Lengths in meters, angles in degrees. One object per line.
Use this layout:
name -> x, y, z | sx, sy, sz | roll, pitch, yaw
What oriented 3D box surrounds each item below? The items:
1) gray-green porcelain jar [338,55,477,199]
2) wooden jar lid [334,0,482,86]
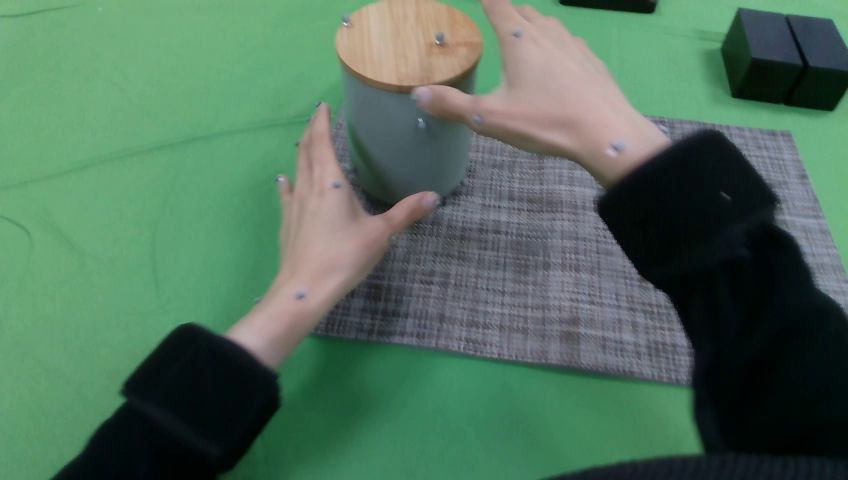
gray-green porcelain jar -> -0.014, -0.105, 0.496 | 0.106, 0.127, 0.105 | 2, 50, -1
wooden jar lid -> -0.012, -0.145, 0.448 | 0.108, 0.021, 0.107 | 1, 52, 0
